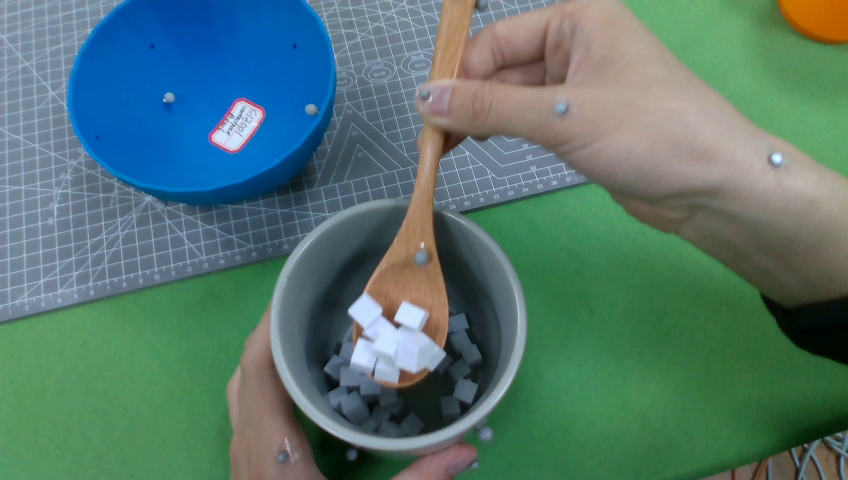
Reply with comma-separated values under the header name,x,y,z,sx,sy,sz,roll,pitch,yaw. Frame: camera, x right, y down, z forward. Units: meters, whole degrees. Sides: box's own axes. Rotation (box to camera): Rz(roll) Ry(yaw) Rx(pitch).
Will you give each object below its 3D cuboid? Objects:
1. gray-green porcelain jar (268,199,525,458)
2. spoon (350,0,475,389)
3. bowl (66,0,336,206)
name,x,y,z,sx,sy,sz,roll,pitch,yaw
gray-green porcelain jar,-0.010,0.053,0.303,0.106,0.127,0.105,0,69,1
spoon,0.003,-0.033,0.250,0.041,0.021,0.194,12,98,9
bowl,-0.124,-0.079,0.376,0.151,0.077,0.150,0,69,0
